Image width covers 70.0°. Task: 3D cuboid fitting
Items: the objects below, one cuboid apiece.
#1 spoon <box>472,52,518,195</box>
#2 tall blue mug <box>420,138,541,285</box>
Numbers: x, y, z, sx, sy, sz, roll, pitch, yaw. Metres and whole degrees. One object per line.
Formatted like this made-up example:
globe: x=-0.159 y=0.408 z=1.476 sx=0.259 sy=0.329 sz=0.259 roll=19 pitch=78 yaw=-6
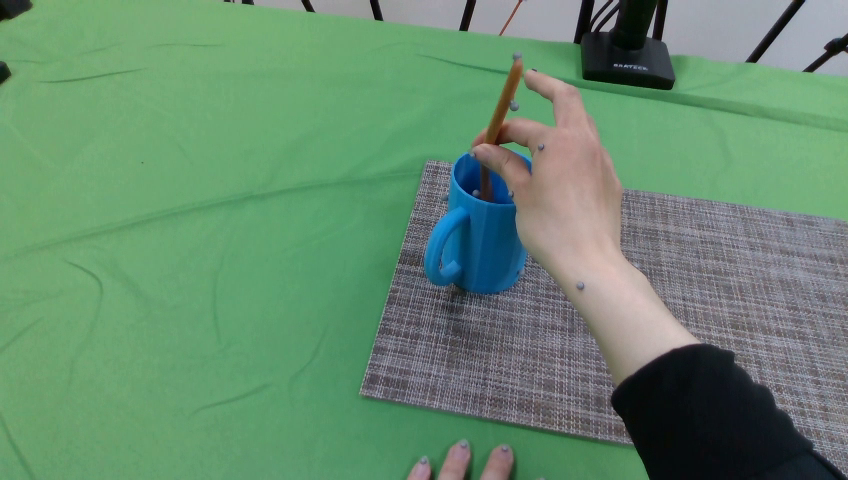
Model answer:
spoon: x=0.048 y=-0.070 z=0.470 sx=0.021 sy=0.195 sz=0.041 roll=9 pitch=61 yaw=3
tall blue mug: x=0.049 y=-0.013 z=0.519 sx=0.077 sy=0.109 sz=0.106 roll=16 pitch=48 yaw=10
